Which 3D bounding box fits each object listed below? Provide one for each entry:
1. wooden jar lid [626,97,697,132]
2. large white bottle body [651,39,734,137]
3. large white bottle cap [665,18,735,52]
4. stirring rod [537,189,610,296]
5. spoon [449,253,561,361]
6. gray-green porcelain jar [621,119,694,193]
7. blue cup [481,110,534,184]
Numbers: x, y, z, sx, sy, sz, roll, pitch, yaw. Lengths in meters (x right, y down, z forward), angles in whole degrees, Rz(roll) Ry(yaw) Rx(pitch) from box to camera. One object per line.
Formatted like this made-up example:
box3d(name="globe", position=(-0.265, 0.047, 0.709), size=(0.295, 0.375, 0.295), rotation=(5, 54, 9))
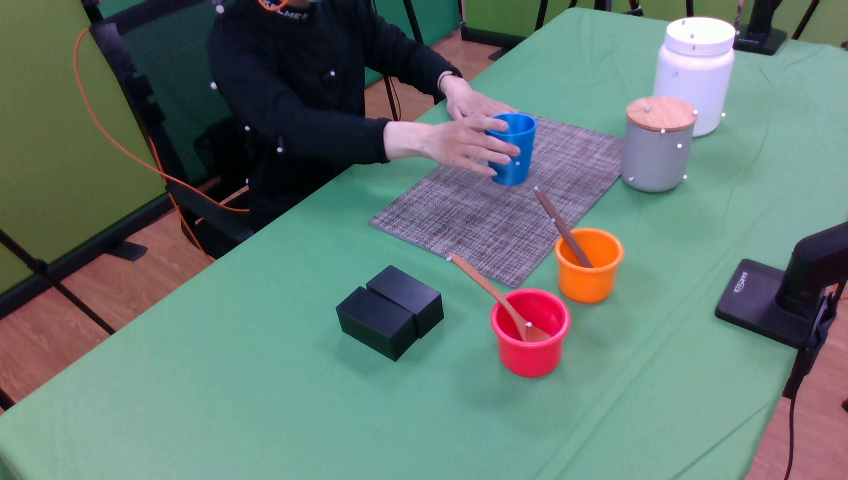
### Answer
box3d(name="wooden jar lid", position=(0.381, -0.198, 0.976), size=(0.108, 0.021, 0.108), rotation=(-2, 40, 3))
box3d(name="large white bottle body", position=(0.497, -0.300, 1.126), size=(0.130, 0.185, 0.130), rotation=(-4, 41, 4))
box3d(name="large white bottle cap", position=(0.488, -0.364, 1.071), size=(0.115, 0.018, 0.114), rotation=(-4, 41, 4))
box3d(name="stirring rod", position=(0.211, 0.003, 0.855), size=(0.014, 0.006, 0.176), rotation=(-32, 88, -30))
box3d(name="spoon", position=(0.103, 0.083, 0.770), size=(0.194, 0.021, 0.042), rotation=(47, 52, -7))
box3d(name="gray-green porcelain jar", position=(0.389, -0.152, 1.016), size=(0.106, 0.127, 0.105), rotation=(-4, 40, 4))
box3d(name="blue cup", position=(0.142, -0.150, 0.996), size=(0.092, 0.100, 0.092), rotation=(-7, 36, 5))
